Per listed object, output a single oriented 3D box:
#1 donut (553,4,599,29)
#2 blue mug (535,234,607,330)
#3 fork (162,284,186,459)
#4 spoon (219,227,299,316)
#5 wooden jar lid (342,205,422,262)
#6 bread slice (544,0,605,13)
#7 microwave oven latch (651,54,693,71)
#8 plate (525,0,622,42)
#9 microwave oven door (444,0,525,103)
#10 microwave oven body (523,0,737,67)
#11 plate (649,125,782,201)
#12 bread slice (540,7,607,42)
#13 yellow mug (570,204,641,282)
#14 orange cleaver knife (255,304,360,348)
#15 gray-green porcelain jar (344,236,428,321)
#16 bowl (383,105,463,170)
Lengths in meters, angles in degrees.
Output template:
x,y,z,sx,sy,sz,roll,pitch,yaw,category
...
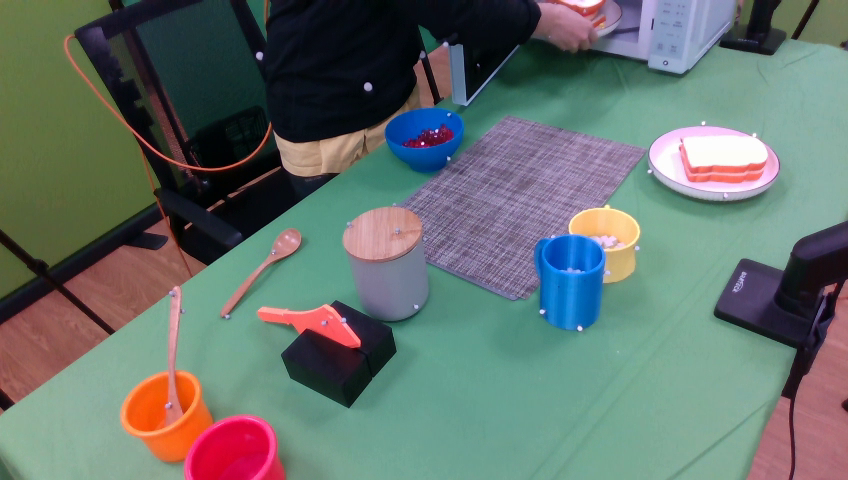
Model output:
x,y,z,sx,sy,sz,roll,pitch,yaw,category
0.332,-0.499,1.322,0.099,0.048,0.098,1,54,-1,donut
0.191,0.048,0.824,0.082,0.106,0.115,-26,44,-21,blue mug
-0.303,0.157,0.733,0.028,0.019,0.207,-3,84,12,fork
-0.261,0.046,0.954,0.041,0.021,0.194,26,48,11,spoon
-0.055,-0.006,0.808,0.108,0.021,0.108,-6,41,6,wooden jar lid
0.326,-0.534,1.308,0.133,0.018,0.107,31,62,25,bread slice
0.532,-0.386,1.302,0.078,0.029,0.030,26,52,34,microwave oven latch
0.332,-0.492,1.348,0.209,0.038,0.208,-4,44,4,plate
0.142,-0.494,1.327,0.039,0.245,0.356,15,45,24,microwave oven door
0.475,-0.601,1.411,0.438,0.261,0.327,23,50,32,microwave oven body
0.493,-0.128,1.036,0.207,0.039,0.206,-4,41,4,plate
0.324,-0.486,1.346,0.105,0.019,0.130,-33,53,-25,bread slice
0.268,-0.005,0.904,0.099,0.064,0.130,7,41,15,yellow mug
-0.161,0.115,0.813,0.210,0.077,0.012,-5,32,46,orange cleaver knife
-0.049,0.042,0.849,0.106,0.127,0.105,-4,41,4,gray-green porcelain jar
0.002,-0.185,1.143,0.151,0.077,0.150,-4,41,4,bowl
